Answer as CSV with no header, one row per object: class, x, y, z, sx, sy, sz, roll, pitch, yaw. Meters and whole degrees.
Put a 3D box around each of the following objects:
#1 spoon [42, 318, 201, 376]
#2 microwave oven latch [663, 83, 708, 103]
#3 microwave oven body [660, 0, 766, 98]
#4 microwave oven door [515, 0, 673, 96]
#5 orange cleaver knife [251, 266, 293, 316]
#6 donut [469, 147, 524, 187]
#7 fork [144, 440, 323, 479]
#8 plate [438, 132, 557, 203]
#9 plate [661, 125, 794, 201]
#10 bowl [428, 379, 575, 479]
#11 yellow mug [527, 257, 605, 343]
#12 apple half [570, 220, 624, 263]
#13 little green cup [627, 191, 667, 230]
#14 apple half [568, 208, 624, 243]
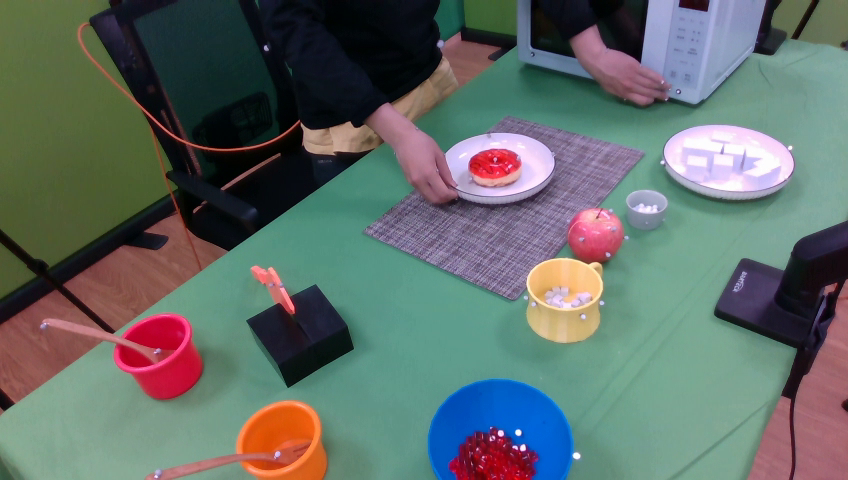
spoon,-0.385,0.134,0.779,0.195,0.021,0.041,29,36,-26
microwave oven latch,0.519,-0.297,1.205,0.030,0.029,0.078,-36,47,-28
microwave oven body,0.473,-0.513,1.317,0.438,0.261,0.327,26,51,34
microwave oven door,0.344,-0.455,1.259,0.353,0.245,0.039,26,51,33
orange cleaver knife,-0.221,0.071,0.874,0.012,0.077,0.210,-25,11,-21
donut,0.129,-0.132,1.076,0.099,0.048,0.098,-6,38,5
fork,-0.189,0.231,0.632,0.028,0.018,0.209,34,12,37
plate,0.131,-0.126,1.084,0.209,0.038,0.208,-4,40,4
plate,0.514,-0.128,1.036,0.207,0.039,0.206,-4,40,4
bowl,0.083,0.232,0.645,0.151,0.077,0.150,-4,40,4
yellow mug,0.202,0.072,0.825,0.131,0.064,0.099,-32,46,-27
apple half,0.252,0.010,0.885,0.081,0.081,0.033,4,37,13
little green cup,0.353,-0.046,0.963,0.061,0.039,0.061,-4,40,4
apple half,0.260,-0.015,0.914,0.080,0.075,0.053,0,36,15
